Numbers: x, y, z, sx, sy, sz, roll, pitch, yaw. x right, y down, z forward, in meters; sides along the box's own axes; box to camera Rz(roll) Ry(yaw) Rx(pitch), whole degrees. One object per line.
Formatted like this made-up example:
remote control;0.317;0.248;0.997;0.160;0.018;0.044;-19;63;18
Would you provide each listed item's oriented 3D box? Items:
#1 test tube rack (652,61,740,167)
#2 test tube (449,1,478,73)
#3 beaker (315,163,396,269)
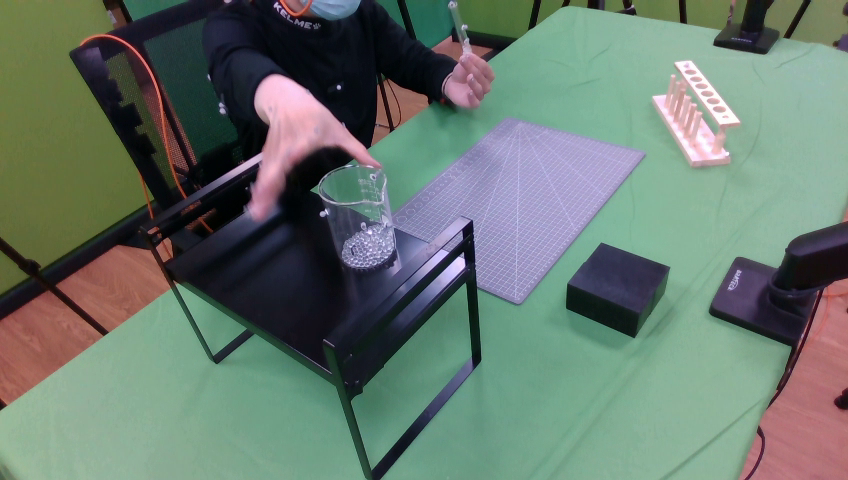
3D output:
test tube rack;0.499;-0.242;1.130;0.067;0.085;0.241;-5;41;3
test tube;0.070;-0.345;1.042;0.017;0.151;0.017;-10;56;15
beaker;-0.070;-0.023;0.671;0.083;0.101;0.074;27;51;32
